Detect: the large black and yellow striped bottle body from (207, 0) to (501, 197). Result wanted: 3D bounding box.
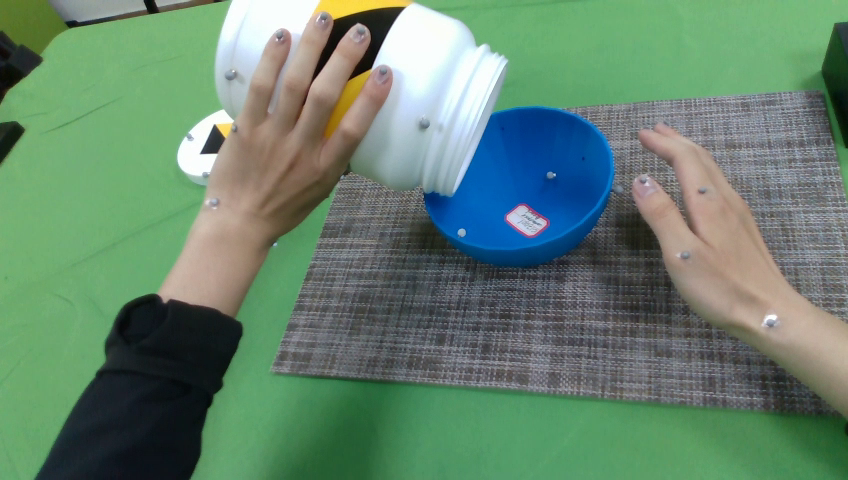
[{"bbox_3d":[-0.047,-0.116,0.453,0.184,0.131,0.130,23,62,2],"label":"large black and yellow striped bottle body"}]

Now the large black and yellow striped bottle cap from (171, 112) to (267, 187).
[{"bbox_3d":[-0.241,-0.111,0.711,0.115,0.019,0.114,-8,53,11],"label":"large black and yellow striped bottle cap"}]

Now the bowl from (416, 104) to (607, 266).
[{"bbox_3d":[0.076,-0.032,0.501,0.151,0.077,0.150,-9,52,12],"label":"bowl"}]
